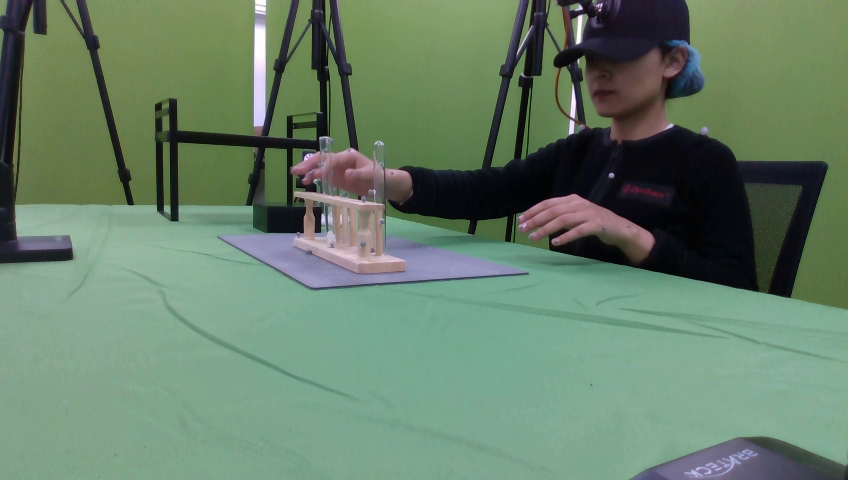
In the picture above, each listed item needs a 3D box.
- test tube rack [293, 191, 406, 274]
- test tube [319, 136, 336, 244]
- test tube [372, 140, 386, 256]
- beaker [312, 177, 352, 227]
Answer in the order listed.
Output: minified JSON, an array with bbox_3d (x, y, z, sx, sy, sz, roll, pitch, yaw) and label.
[{"bbox_3d":[-0.110,-0.017,0.835,0.067,0.085,0.241,-2,9,-30],"label":"test tube rack"},{"bbox_3d":[-0.134,-0.068,0.837,0.017,0.150,0.017,-3,4,0],"label":"test tube"},{"bbox_3d":[-0.058,-0.053,0.781,0.017,0.150,0.017,0,5,0],"label":"test tube"},{"bbox_3d":[-0.194,-0.081,1.266,0.084,0.100,0.073,-3,9,-29],"label":"beaker"}]
